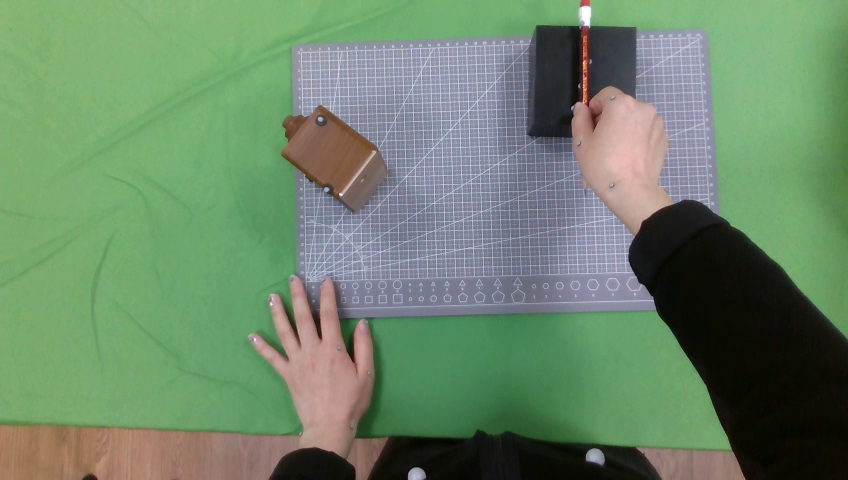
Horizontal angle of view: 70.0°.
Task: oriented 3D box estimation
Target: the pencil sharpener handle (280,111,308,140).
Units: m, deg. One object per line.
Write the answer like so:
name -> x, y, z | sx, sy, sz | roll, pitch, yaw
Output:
pencil sharpener handle -> -0.128, -0.115, 0.590 | 0.030, 0.068, 0.036 | 38, 96, 4

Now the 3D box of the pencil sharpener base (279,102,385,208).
pencil sharpener base -> -0.089, -0.082, 0.600 | 0.076, 0.107, 0.061 | 38, 88, 4

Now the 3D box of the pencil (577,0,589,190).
pencil -> 0.155, -0.144, 0.588 | 0.012, 0.012, 0.193 | 1, 85, 2
